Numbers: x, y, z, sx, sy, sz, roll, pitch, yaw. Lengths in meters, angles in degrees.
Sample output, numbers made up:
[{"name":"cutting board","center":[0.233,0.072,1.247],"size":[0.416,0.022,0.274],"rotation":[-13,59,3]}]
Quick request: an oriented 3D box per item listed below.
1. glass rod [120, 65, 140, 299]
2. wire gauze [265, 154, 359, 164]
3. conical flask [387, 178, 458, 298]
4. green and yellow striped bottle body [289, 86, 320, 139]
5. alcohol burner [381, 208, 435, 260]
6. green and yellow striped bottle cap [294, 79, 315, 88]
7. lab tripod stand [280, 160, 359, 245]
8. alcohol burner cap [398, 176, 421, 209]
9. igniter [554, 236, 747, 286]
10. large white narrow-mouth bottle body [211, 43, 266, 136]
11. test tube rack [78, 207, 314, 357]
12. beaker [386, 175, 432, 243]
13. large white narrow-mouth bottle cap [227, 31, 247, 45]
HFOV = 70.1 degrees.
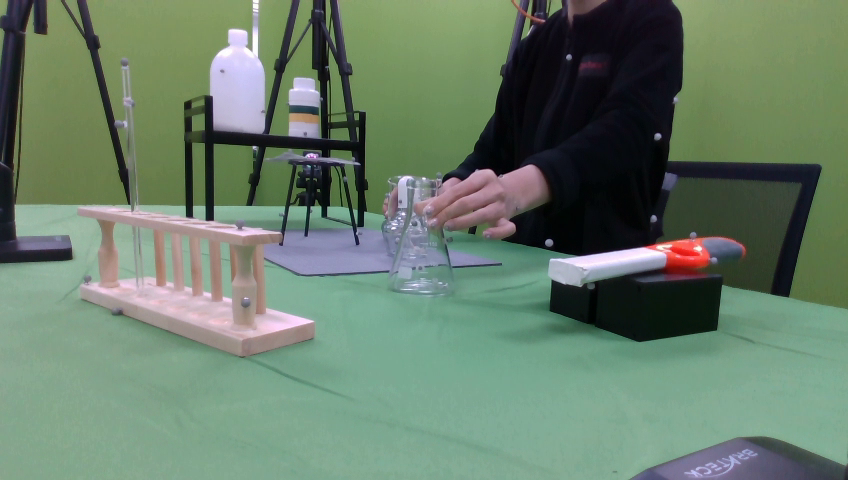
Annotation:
[{"name":"glass rod","center":[-0.249,-0.047,0.513],"size":[0.008,0.199,0.008],"rotation":[-1,4,0]},{"name":"wire gauze","center":[-0.181,-0.129,0.969],"size":[0.126,0.011,0.121],"rotation":[-1,7,-27]},{"name":"conical flask","center":[0.000,-0.004,0.639],"size":[0.075,0.122,0.075],"rotation":[1,8,0]},{"name":"green and yellow striped bottle body","center":[-0.250,-0.272,1.261],"size":[0.063,0.119,0.063],"rotation":[3,7,0]},{"name":"alcohol burner","center":[-0.023,-0.032,0.871],"size":[0.078,0.119,0.078],"rotation":[1,6,0]},{"name":"green and yellow striped bottle cap","center":[-0.248,-0.323,1.256],"size":[0.045,0.020,0.045],"rotation":[3,9,0]},{"name":"lab tripod stand","center":[-0.176,-0.062,0.973],"size":[0.148,0.131,0.148],"rotation":[1,7,0]},{"name":"alcohol burner cap","center":[-0.023,-0.068,0.866],"size":[0.034,0.048,0.034],"rotation":[-5,8,1]},{"name":"igniter","center":[0.221,0.017,0.558],"size":[0.278,0.025,0.057],"rotation":[-5,15,-39]},{"name":"large white narrow-mouth bottle body","center":[-0.361,-0.302,1.176],"size":[0.102,0.194,0.102],"rotation":[1,7,0]},{"name":"test tube rack","center":[-0.196,0.023,0.500],"size":[0.241,0.085,0.067],"rotation":[8,9,37]},{"name":"beaker","center":[-0.023,-0.051,1.007],"size":[0.074,0.100,0.083],"rotation":[-14,24,-39]},{"name":"large white narrow-mouth bottle cap","center":[-0.361,-0.388,1.166],"size":[0.038,0.024,0.037],"rotation":[1,7,0]}]
